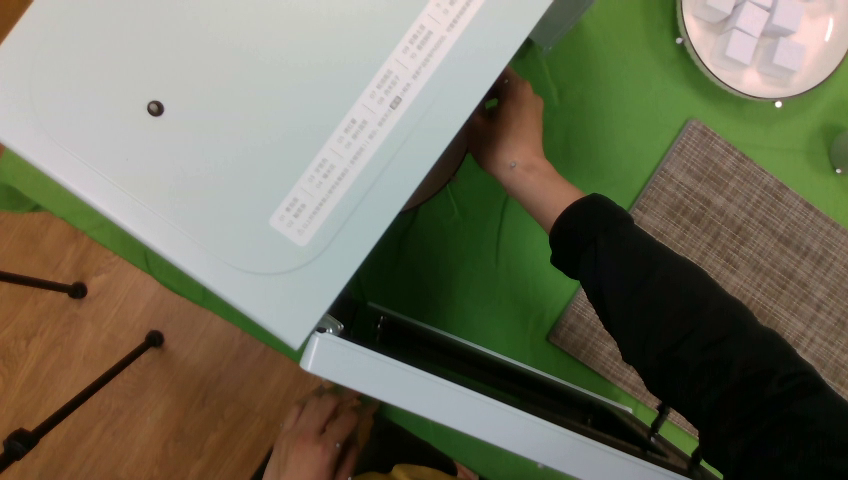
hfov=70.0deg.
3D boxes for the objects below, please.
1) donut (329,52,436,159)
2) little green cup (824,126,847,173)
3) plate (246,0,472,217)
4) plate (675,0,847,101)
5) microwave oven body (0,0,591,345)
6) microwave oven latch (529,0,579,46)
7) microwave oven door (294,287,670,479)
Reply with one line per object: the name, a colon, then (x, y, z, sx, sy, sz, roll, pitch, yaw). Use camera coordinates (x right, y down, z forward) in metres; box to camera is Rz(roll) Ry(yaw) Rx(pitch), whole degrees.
donut: (-0.038, -0.124, 0.563, 0.099, 0.048, 0.099, 0, 96, 0)
little green cup: (0.496, -0.105, 0.694, 0.061, 0.038, 0.061, 0, 91, -5)
plate: (-0.059, -0.126, 0.574, 0.209, 0.038, 0.209, 0, 93, -5)
plate: (0.376, -0.257, 0.677, 0.208, 0.039, 0.207, 0, 92, -5)
microwave oven body: (-0.077, -0.187, 0.522, 0.327, 0.259, 0.441, 37, 89, -6)
microwave oven latch: (0.140, -0.244, 0.636, 0.030, 0.029, 0.079, 41, 89, -6)
microwave oven door: (0.068, 0.137, 0.545, 0.356, 0.243, 0.039, 23, 89, -6)
